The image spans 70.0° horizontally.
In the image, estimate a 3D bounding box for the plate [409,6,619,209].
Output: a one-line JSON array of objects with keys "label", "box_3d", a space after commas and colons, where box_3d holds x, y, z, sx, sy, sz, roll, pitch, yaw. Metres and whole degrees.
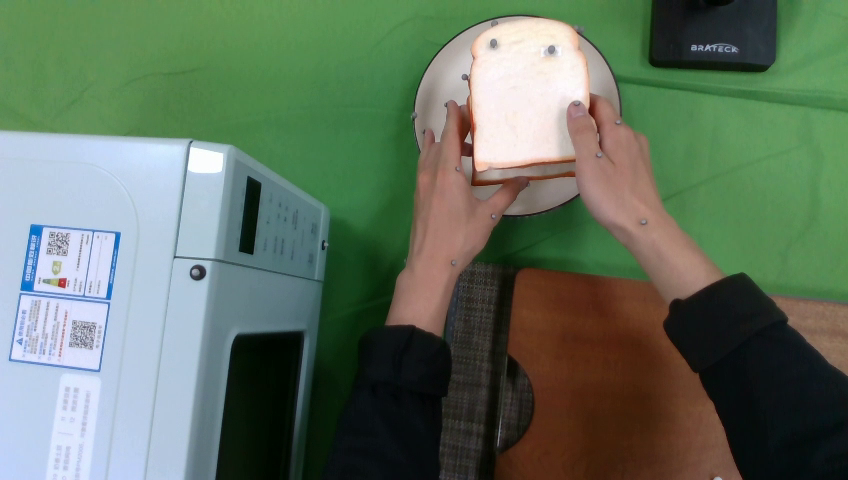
[{"label": "plate", "box_3d": [0.089, -0.132, 0.618, 0.207, 0.039, 0.207, -1, 84, 7]}]

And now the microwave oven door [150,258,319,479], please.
[{"label": "microwave oven door", "box_3d": [-0.151, 0.198, 0.492, 0.039, 0.244, 0.355, 4, 84, 8]}]

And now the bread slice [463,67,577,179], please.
[{"label": "bread slice", "box_3d": [0.088, -0.127, 0.585, 0.105, 0.019, 0.131, -6, 83, 2]}]

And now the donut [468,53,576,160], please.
[{"label": "donut", "box_3d": [0.089, -0.122, 0.555, 0.099, 0.048, 0.098, -1, 83, 11]}]

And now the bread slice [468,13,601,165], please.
[{"label": "bread slice", "box_3d": [0.087, -0.132, 0.526, 0.107, 0.018, 0.133, -9, 79, 5]}]

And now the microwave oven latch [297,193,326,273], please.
[{"label": "microwave oven latch", "box_3d": [-0.117, -0.007, 0.612, 0.030, 0.029, 0.079, 5, 85, 7]}]

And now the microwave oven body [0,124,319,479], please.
[{"label": "microwave oven body", "box_3d": [-0.291, 0.146, 0.519, 0.325, 0.261, 0.440, 4, 85, 7]}]
